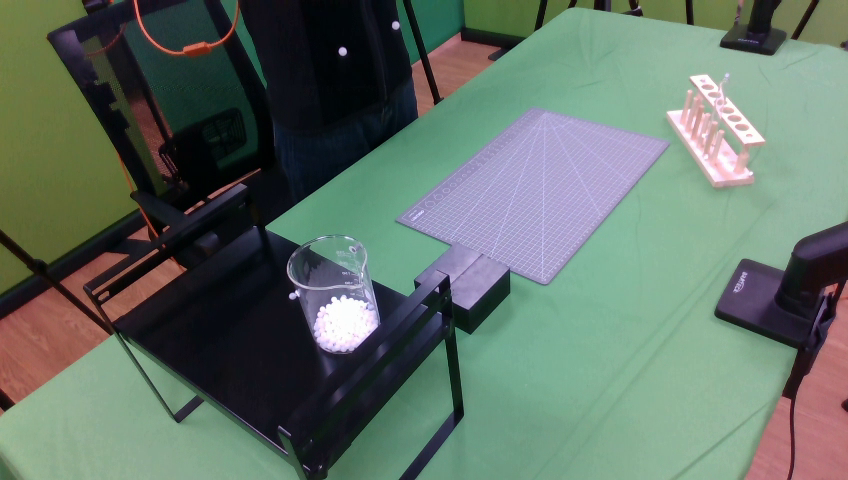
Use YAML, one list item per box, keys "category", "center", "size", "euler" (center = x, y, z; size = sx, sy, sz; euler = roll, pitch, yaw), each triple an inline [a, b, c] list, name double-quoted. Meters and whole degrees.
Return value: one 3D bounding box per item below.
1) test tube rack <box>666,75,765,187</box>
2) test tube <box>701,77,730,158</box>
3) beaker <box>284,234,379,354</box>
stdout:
- category: "test tube rack"
  center: [0.512, -0.201, 1.082]
  size: [0.067, 0.085, 0.241]
  euler: [-6, 41, 2]
- category: "test tube"
  center: [0.491, -0.204, 1.020]
  size: [0.017, 0.151, 0.017]
  euler: [-4, 41, 4]
- category: "beaker"
  center: [-0.083, 0.056, 0.585]
  size: [0.083, 0.101, 0.074]
  euler: [28, 52, 33]
